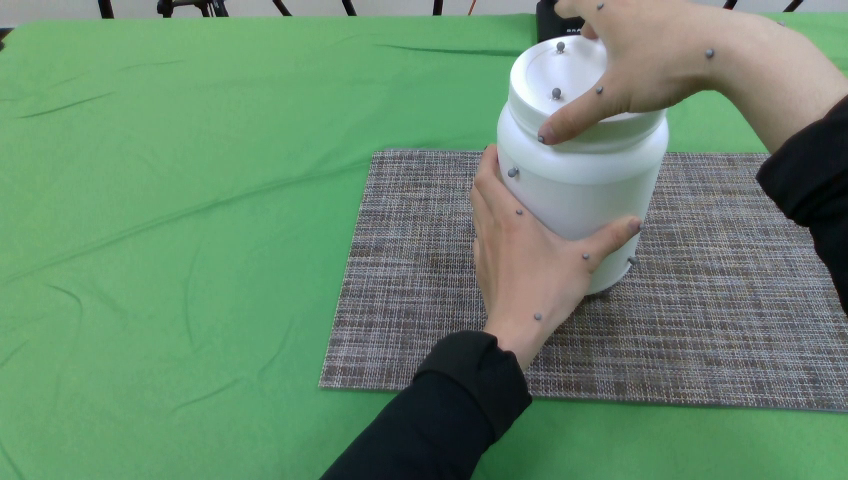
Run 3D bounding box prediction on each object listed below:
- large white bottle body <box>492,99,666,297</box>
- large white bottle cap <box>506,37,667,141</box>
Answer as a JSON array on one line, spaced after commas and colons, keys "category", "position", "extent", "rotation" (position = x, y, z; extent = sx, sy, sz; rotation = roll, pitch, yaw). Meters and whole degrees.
[{"category": "large white bottle body", "position": [0.124, -0.055, 0.506], "extent": [0.130, 0.186, 0.129], "rotation": [-2, 48, 2]}, {"category": "large white bottle cap", "position": [0.118, -0.114, 0.444], "extent": [0.115, 0.018, 0.113], "rotation": [-2, 47, 2]}]
